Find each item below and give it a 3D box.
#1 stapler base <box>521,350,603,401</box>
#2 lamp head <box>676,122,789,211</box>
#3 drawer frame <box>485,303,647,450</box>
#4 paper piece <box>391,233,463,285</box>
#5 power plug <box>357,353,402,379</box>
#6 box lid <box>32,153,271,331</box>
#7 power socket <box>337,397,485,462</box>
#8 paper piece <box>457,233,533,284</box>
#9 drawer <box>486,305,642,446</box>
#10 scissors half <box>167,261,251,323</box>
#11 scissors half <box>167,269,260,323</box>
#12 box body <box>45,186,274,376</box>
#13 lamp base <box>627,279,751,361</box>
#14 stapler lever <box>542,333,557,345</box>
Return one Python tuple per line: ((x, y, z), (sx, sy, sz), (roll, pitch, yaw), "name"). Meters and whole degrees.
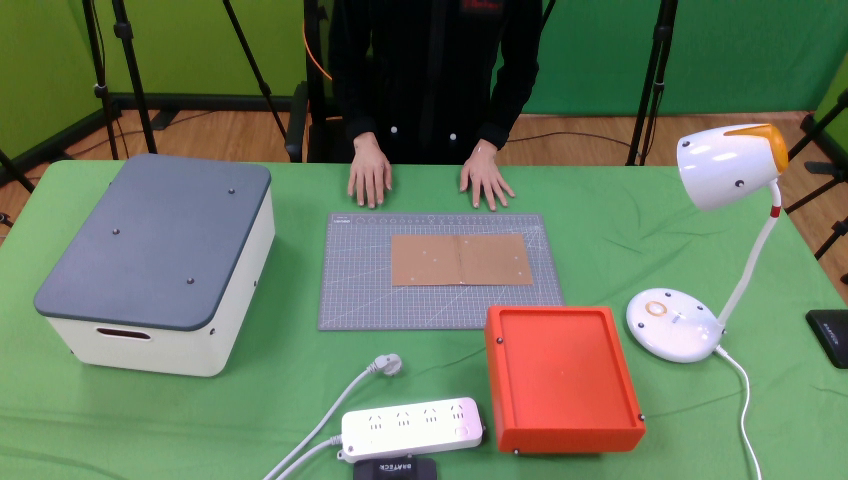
((0.217, 0.203, 0.942), (0.130, 0.024, 0.041), (26, 33, 16), "stapler base")
((0.423, -0.104, 0.819), (0.122, 0.113, 0.112), (-13, 33, 40), "lamp head")
((0.204, 0.202, 0.917), (0.202, 0.083, 0.212), (1, 47, -4), "drawer frame")
((0.003, 0.035, 1.170), (0.135, 0.004, 0.135), (1, 46, -4), "paper piece")
((-0.071, 0.207, 0.983), (0.072, 0.053, 0.035), (-20, 51, 4), "power plug")
((-0.417, -0.015, 0.980), (0.263, 0.015, 0.369), (6, 46, 1), "box lid")
((-0.018, 0.285, 0.915), (0.227, 0.033, 0.071), (-4, 46, -8), "power socket")
((0.136, 0.035, 1.182), (0.136, 0.009, 0.137), (2, 45, -7), "paper piece")
((0.202, 0.200, 0.919), (0.195, 0.073, 0.210), (2, 47, -4), "drawer")
((-0.383, 0.091, 1.080), (0.040, 0.013, 0.175), (25, 52, 30), "scissors half")
((-0.369, 0.101, 1.069), (0.175, 0.013, 0.040), (-28, 52, -22), "scissors half")
((-0.421, 0.037, 1.031), (0.254, 0.161, 0.362), (6, 46, 1), "box body")
((0.460, 0.100, 1.027), (0.178, 0.181, 0.160), (27, 51, 17), "lamp base")
((0.225, 0.181, 0.928), (0.118, 0.040, 0.027), (27, 34, 15), "stapler lever")
